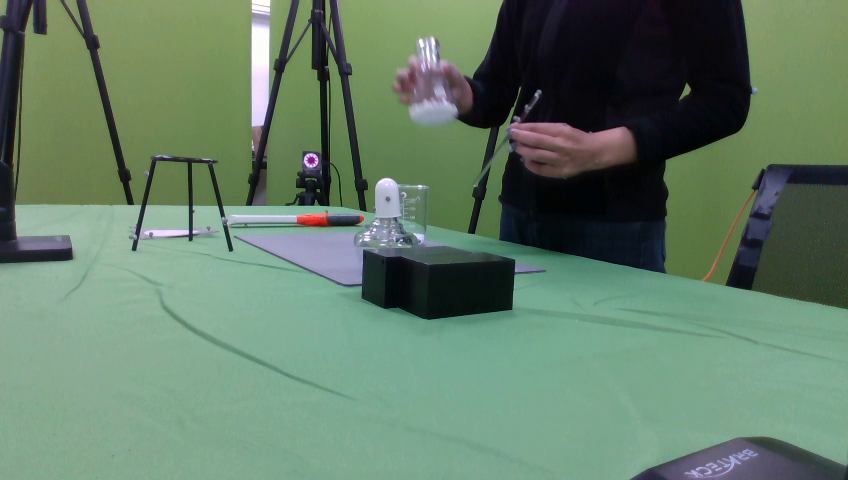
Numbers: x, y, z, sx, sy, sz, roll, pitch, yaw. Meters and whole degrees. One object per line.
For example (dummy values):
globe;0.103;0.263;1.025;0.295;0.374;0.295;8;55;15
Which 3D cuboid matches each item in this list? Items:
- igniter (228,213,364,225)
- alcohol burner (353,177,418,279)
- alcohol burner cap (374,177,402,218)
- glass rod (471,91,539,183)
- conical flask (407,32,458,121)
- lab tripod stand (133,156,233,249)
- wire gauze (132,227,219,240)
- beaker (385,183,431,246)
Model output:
igniter;-0.252;-0.043;1.227;0.278;0.025;0.057;-2;-3;-32
alcohol burner;-0.044;-0.014;0.710;0.078;0.119;0.078;4;9;0
alcohol burner cap;-0.044;-0.049;0.704;0.034;0.048;0.034;-4;10;1
glass rod;0.121;-0.154;0.935;0.008;0.008;0.199;-3;-34;-32
conical flask;0.008;-0.244;0.894;0.075;0.121;0.075;-5;-11;-1
lab tripod stand;-0.342;-0.054;0.878;0.148;0.131;0.148;4;6;0
wire gauze;-0.421;-0.014;1.024;0.122;0.011;0.124;-2;7;-34
beaker;-0.031;-0.043;1.000;0.084;0.100;0.074;4;7;15
